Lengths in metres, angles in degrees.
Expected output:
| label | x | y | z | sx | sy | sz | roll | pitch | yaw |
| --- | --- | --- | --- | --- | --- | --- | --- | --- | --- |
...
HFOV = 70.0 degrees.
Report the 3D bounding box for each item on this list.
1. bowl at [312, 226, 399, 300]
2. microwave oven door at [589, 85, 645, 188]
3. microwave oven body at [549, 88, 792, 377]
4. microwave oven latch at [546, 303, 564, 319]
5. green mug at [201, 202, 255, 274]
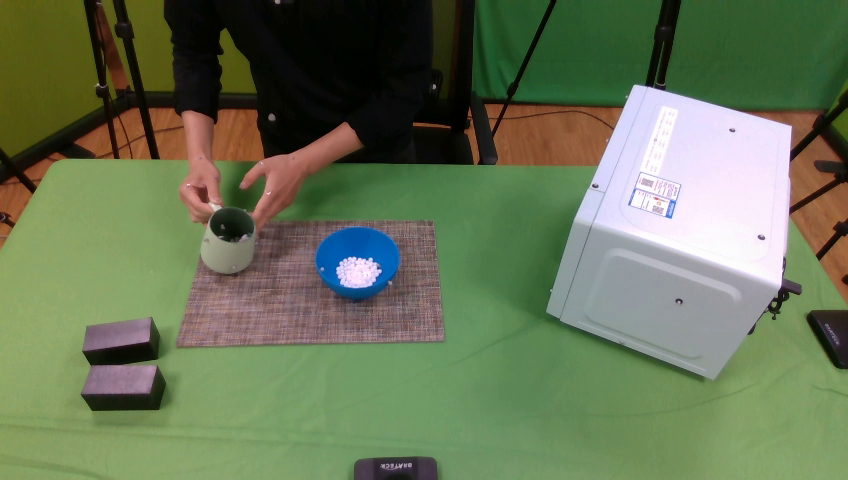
| label | x | y | z | sx | sy | sz | roll | pitch | yaw |
| --- | --- | --- | --- | --- | --- | --- | --- | --- | --- |
| bowl | -0.121 | 0.054 | 1.091 | 0.151 | 0.077 | 0.150 | 2 | 46 | -2 |
| microwave oven door | 0.342 | -0.107 | 1.148 | 0.039 | 0.245 | 0.354 | 20 | 48 | 15 |
| microwave oven body | 0.456 | -0.028 | 1.088 | 0.325 | 0.261 | 0.440 | 20 | 47 | 16 |
| microwave oven latch | 0.242 | 0.102 | 1.081 | 0.030 | 0.029 | 0.079 | 21 | 48 | 17 |
| green mug | -0.362 | -0.011 | 1.099 | 0.092 | 0.105 | 0.125 | -24 | 69 | -36 |
